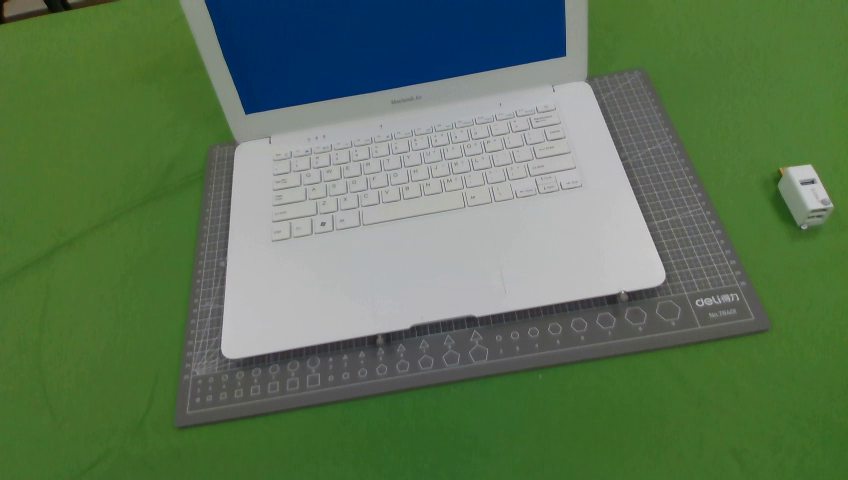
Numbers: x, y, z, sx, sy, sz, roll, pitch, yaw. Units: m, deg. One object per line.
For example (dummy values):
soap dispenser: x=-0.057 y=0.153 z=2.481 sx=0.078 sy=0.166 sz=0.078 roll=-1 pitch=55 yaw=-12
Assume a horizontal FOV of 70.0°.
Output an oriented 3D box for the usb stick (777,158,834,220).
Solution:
usb stick: x=0.308 y=-0.047 z=0.494 sx=0.021 sy=0.027 sz=0.058 roll=-8 pitch=52 yaw=5

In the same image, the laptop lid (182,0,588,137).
laptop lid: x=-0.032 y=-0.221 z=0.529 sx=0.357 sy=0.244 sz=0.013 roll=-11 pitch=38 yaw=3

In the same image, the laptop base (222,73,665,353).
laptop base: x=0.001 y=-0.033 z=0.536 sx=0.354 sy=0.023 sz=0.233 roll=-10 pitch=59 yaw=2
